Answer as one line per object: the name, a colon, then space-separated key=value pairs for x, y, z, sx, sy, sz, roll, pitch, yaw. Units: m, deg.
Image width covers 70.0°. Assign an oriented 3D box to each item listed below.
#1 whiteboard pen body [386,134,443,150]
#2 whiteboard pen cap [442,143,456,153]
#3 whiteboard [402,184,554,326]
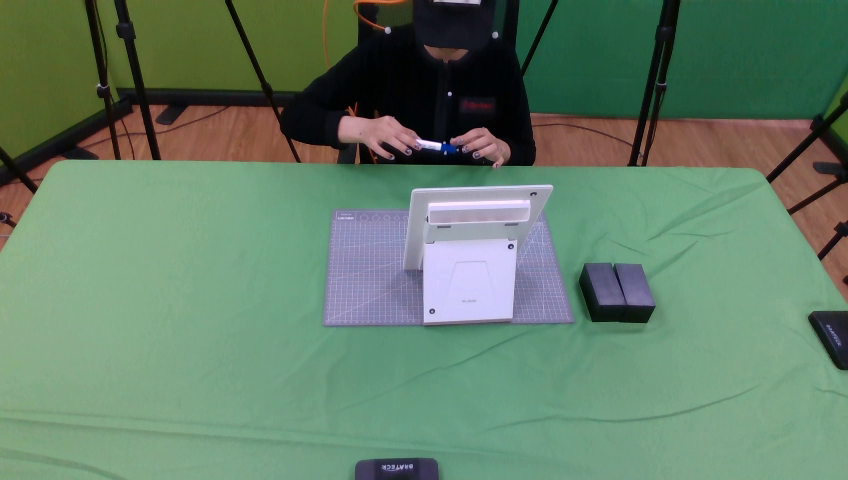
whiteboard pen body: x=-0.009 y=-0.202 z=1.260 sx=0.141 sy=0.017 sz=0.017 roll=10 pitch=47 yaw=3
whiteboard pen cap: x=0.050 y=-0.192 z=1.260 sx=0.033 sy=0.018 sz=0.018 roll=11 pitch=47 yaw=2
whiteboard: x=0.081 y=0.044 z=1.005 sx=0.217 sy=0.306 sz=0.143 roll=-1 pitch=65 yaw=-6
